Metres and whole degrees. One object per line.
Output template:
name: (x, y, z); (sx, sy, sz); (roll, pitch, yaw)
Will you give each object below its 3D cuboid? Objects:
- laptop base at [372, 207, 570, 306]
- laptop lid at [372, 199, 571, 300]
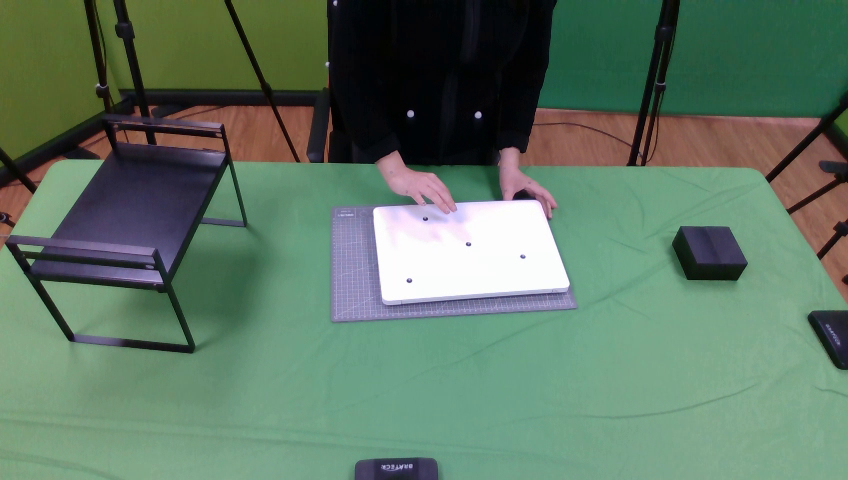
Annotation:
laptop base: (0.083, 0.026, 1.179); (0.355, 0.023, 0.234); (-4, 43, -7)
laptop lid: (0.084, 0.010, 1.166); (0.357, 0.013, 0.240); (-2, 49, -7)
